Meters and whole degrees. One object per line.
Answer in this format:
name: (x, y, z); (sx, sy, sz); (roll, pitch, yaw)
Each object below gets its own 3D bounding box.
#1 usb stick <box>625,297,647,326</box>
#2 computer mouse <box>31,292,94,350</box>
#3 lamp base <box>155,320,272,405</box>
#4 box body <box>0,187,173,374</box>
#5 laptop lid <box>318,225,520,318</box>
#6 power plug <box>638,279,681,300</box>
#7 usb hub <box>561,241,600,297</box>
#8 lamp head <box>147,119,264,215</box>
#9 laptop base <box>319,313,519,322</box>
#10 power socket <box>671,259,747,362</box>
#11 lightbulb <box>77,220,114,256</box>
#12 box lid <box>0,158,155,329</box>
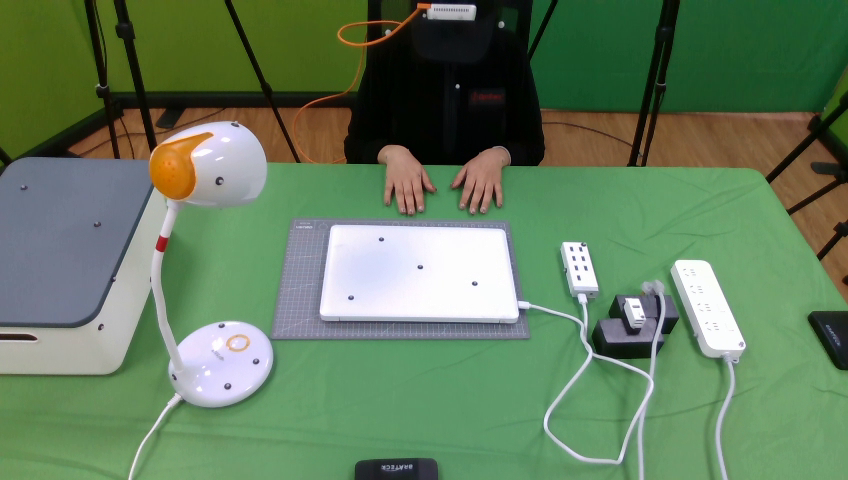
usb stick: (0.360, 0.116, 1.034); (0.021, 0.027, 0.059); (-2, 44, -2)
computer mouse: (-0.602, 0.130, 1.009); (0.063, 0.041, 0.116); (-1, 42, -1)
lamp base: (-0.330, 0.149, 0.918); (0.160, 0.181, 0.179); (26, 52, 20)
box body: (-0.601, 0.039, 1.019); (0.254, 0.161, 0.361); (1, 46, -3)
laptop lid: (-0.009, 0.052, 1.131); (0.357, 0.013, 0.240); (2, 43, -2)
power plug: (0.434, 0.100, 1.118); (0.073, 0.053, 0.035); (34, 37, -14)
usb hub: (0.300, 0.055, 1.162); (0.049, 0.025, 0.124); (2, 46, -3)
lamp head: (-0.276, -0.087, 0.740); (0.112, 0.112, 0.123); (20, 23, 15)
laptop base: (-0.009, 0.062, 1.137); (0.354, 0.023, 0.234); (1, 42, -3)
power socket: (0.516, 0.119, 1.108); (0.072, 0.033, 0.225); (1, 46, -2)
lightbulb: (-0.614, -0.009, 1.139); (0.059, 0.060, 0.107); (-14, 28, -16)
box lid: (-0.598, -0.011, 0.964); (0.263, 0.015, 0.369); (1, 45, -3)
